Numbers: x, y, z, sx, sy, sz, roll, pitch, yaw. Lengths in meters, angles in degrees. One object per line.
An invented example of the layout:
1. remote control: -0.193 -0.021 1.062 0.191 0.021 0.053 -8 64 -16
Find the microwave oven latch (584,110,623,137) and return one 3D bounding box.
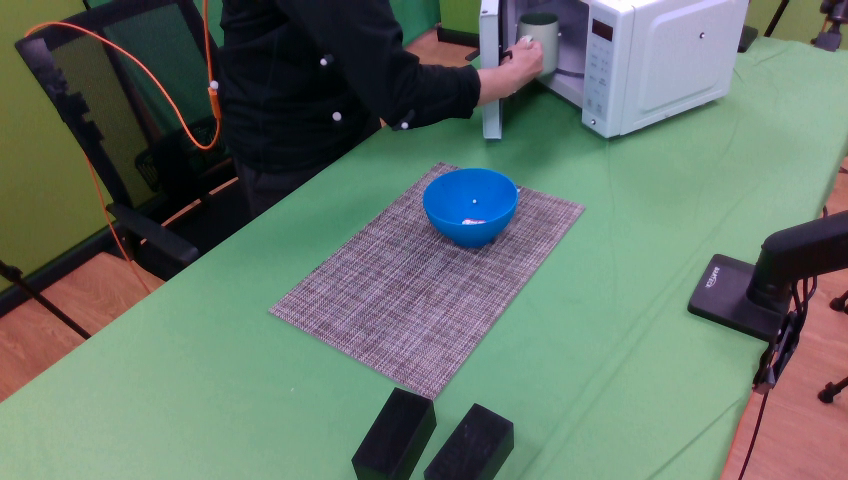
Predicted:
1. microwave oven latch: 0.337 -0.222 1.142 0.030 0.029 0.078 -21 42 -14

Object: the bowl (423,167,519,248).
1. bowl: 0.075 -0.041 0.958 0.151 0.077 0.150 -4 40 4

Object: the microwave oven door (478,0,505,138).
1. microwave oven door: 0.140 -0.404 1.224 0.039 0.245 0.354 -1 41 9

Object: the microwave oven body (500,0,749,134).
1. microwave oven body: 0.382 -0.445 1.246 0.327 0.261 0.437 -22 42 -16
